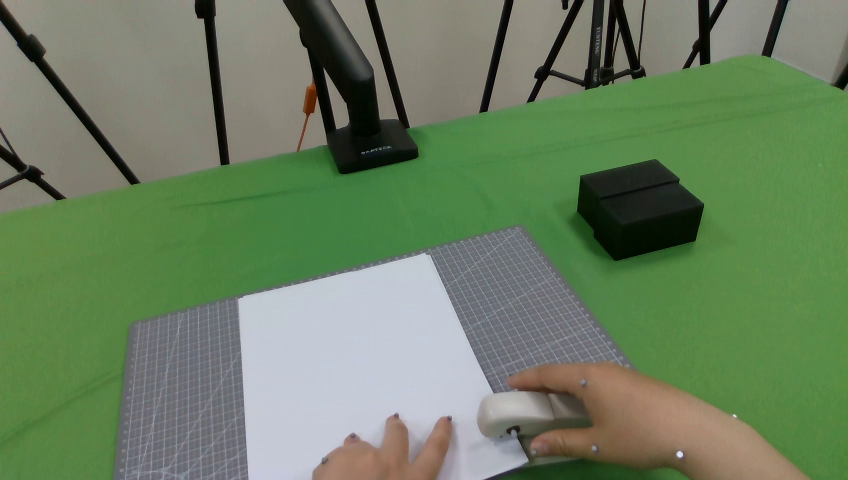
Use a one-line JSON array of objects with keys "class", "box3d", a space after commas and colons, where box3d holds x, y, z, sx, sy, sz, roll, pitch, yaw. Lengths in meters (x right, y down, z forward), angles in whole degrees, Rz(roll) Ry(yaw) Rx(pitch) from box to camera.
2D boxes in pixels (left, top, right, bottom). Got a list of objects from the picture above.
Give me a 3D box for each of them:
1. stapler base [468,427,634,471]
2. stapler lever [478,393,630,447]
[{"class": "stapler base", "box3d": [0.101, 0.154, 0.486, 0.131, 0.024, 0.041, -6, 40, -5]}, {"class": "stapler lever", "box3d": [0.101, 0.137, 0.473, 0.118, 0.040, 0.026, -10, 41, -2]}]
